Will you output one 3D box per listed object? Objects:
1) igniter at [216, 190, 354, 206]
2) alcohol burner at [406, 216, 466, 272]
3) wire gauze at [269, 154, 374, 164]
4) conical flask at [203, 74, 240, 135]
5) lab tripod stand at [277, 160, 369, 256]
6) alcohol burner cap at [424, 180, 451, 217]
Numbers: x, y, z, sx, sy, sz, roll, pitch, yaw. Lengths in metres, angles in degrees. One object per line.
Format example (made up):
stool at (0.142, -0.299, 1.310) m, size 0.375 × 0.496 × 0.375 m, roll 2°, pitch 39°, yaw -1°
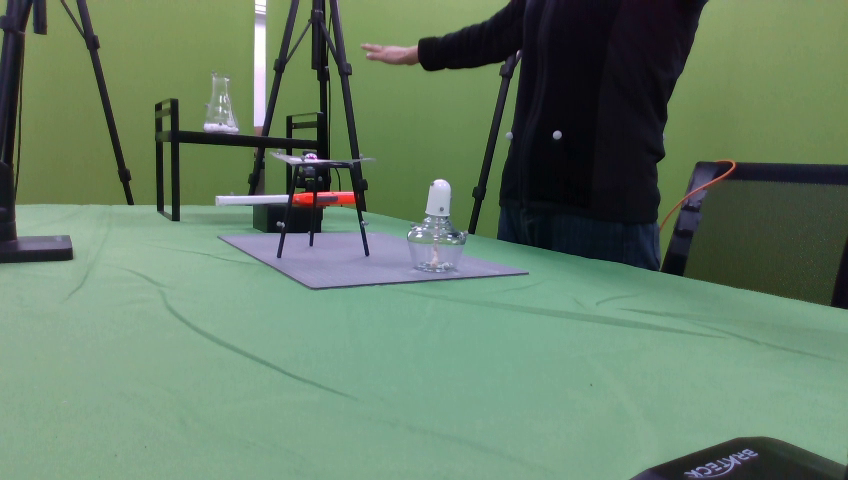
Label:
igniter at (-0.248, -0.079, 1.142) m, size 0.278 × 0.025 × 0.057 m, roll -5°, pitch 8°, yaw -31°
alcohol burner at (0.017, -0.018, 0.777) m, size 0.078 × 0.119 × 0.078 m, roll 5°, pitch 7°, yaw 0°
wire gauze at (-0.146, -0.114, 0.860) m, size 0.122 × 0.011 × 0.124 m, roll -2°, pitch 9°, yaw -28°
conical flask at (-0.425, -0.284, 1.271) m, size 0.075 × 0.122 × 0.075 m, roll 3°, pitch 7°, yaw 0°
lab tripod stand at (-0.149, -0.046, 0.861) m, size 0.148 × 0.131 × 0.148 m, roll 3°, pitch 9°, yaw 0°
alcohol burner cap at (0.020, -0.053, 0.772) m, size 0.034 × 0.048 × 0.034 m, roll 6°, pitch 14°, yaw -1°
